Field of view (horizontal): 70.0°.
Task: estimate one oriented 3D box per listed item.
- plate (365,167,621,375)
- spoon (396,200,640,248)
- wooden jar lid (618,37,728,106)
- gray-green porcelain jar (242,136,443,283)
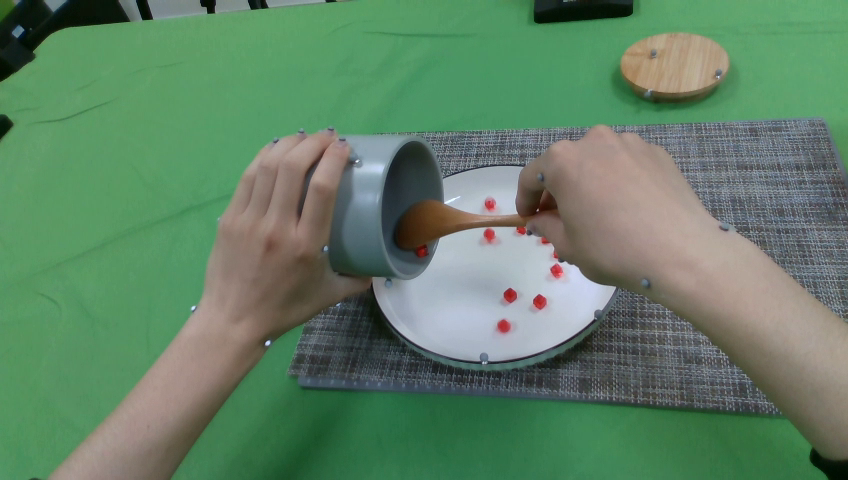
[{"bbox_3d":[0.056,0.024,0.507,0.207,0.039,0.205,-7,49,8],"label":"plate"},{"bbox_3d":[0.055,-0.015,0.427,0.192,0.022,0.041,-1,57,33],"label":"spoon"},{"bbox_3d":[0.264,-0.179,0.647,0.108,0.021,0.107,-7,50,8],"label":"wooden jar lid"},{"bbox_3d":[-0.063,-0.026,0.462,0.126,0.107,0.105,6,52,25],"label":"gray-green porcelain jar"}]
